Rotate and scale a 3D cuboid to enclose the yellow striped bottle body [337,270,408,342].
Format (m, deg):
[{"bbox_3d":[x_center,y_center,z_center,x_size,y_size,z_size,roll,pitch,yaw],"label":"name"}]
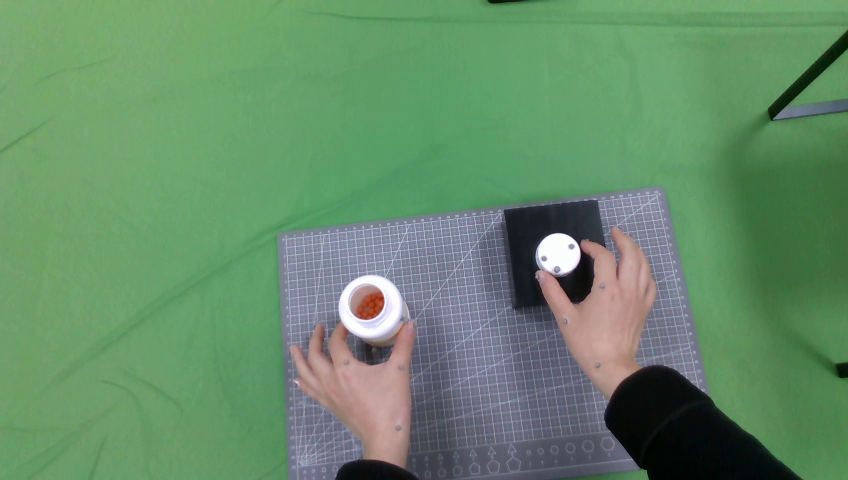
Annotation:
[{"bbox_3d":[-0.051,0.068,0.617,0.063,0.121,0.062,-1,76,2],"label":"yellow striped bottle body"}]

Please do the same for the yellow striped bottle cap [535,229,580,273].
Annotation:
[{"bbox_3d":[0.138,0.011,0.625,0.044,0.019,0.044,0,77,2],"label":"yellow striped bottle cap"}]
